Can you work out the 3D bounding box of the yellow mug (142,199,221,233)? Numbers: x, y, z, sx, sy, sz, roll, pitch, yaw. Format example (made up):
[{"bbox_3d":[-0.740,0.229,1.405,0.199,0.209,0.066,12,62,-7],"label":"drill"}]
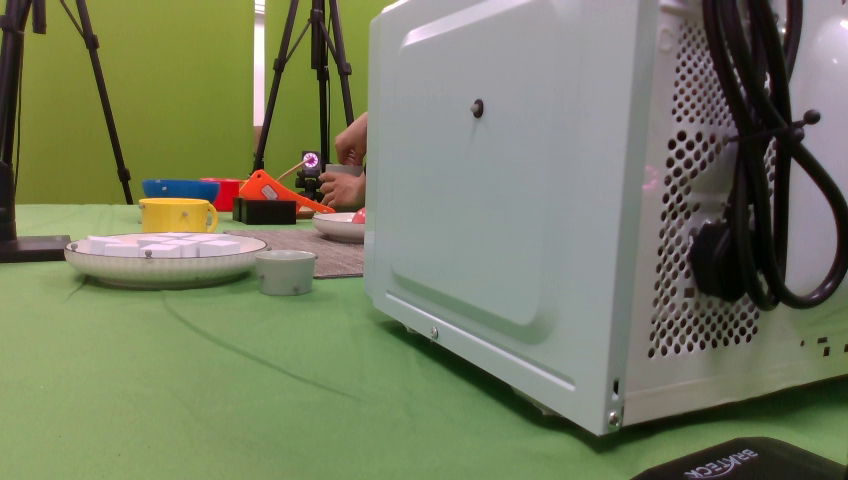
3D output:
[{"bbox_3d":[-0.373,-0.030,0.948,0.099,0.064,0.131,6,7,30],"label":"yellow mug"}]

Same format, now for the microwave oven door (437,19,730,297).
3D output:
[{"bbox_3d":[0.180,-0.076,0.618,0.358,0.243,0.039,-2,9,-28],"label":"microwave oven door"}]

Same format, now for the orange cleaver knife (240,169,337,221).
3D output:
[{"bbox_3d":[-0.287,-0.081,1.298,0.212,0.077,0.012,25,-3,-31],"label":"orange cleaver knife"}]

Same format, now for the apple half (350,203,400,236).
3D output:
[{"bbox_3d":[-0.081,-0.036,1.024,0.081,0.053,0.074,-2,11,-34],"label":"apple half"}]

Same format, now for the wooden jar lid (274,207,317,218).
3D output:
[{"bbox_3d":[-0.303,-0.065,1.409,0.108,0.020,0.108,3,9,0],"label":"wooden jar lid"}]

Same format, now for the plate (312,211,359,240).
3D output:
[{"bbox_3d":[-0.091,-0.026,1.063,0.209,0.038,0.209,2,7,0],"label":"plate"}]

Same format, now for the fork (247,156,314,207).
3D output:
[{"bbox_3d":[-0.360,-0.147,1.522,0.207,0.018,0.028,-43,14,-7],"label":"fork"}]

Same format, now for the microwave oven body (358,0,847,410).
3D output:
[{"bbox_3d":[0.210,-0.051,0.471,0.444,0.260,0.324,-1,7,-28],"label":"microwave oven body"}]

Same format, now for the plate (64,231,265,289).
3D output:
[{"bbox_3d":[-0.288,0.021,0.687,0.208,0.039,0.207,2,8,0],"label":"plate"}]

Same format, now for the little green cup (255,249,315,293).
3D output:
[{"bbox_3d":[-0.144,0.032,0.627,0.061,0.038,0.061,2,5,0],"label":"little green cup"}]

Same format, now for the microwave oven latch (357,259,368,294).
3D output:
[{"bbox_3d":[-0.019,0.031,0.530,0.079,0.029,0.030,-1,7,-28],"label":"microwave oven latch"}]

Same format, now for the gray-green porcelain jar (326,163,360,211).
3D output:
[{"bbox_3d":[-0.188,-0.125,1.489,0.106,0.126,0.106,2,8,0],"label":"gray-green porcelain jar"}]

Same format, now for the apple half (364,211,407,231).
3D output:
[{"bbox_3d":[-0.068,-0.037,1.103,0.081,0.033,0.081,-1,9,1],"label":"apple half"}]

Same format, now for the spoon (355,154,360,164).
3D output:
[{"bbox_3d":[-0.172,-0.175,1.507,0.041,0.193,0.022,25,-7,15],"label":"spoon"}]

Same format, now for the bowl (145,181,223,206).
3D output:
[{"bbox_3d":[-0.499,-0.081,1.261,0.151,0.077,0.151,2,7,0],"label":"bowl"}]
